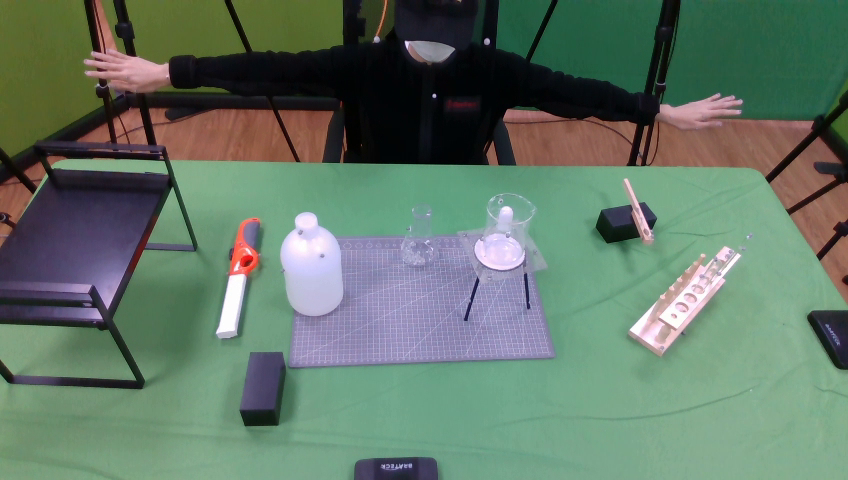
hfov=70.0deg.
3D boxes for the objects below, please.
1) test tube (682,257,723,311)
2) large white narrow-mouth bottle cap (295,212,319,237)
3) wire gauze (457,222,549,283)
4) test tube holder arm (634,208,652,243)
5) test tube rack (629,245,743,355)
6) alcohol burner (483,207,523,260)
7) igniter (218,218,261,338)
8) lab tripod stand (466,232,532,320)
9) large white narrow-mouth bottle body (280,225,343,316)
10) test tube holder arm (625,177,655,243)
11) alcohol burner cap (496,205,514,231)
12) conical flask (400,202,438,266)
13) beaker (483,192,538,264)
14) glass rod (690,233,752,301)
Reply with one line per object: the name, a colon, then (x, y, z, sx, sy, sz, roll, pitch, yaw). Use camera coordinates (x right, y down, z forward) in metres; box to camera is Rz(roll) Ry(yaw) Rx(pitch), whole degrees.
test tube: (0.474, 0.080, 1.037, 0.017, 0.151, 0.017, 1, 50, -1)
large white narrow-mouth bottle cap: (-0.185, -0.025, 0.960, 0.038, 0.024, 0.037, 2, 46, -2)
wire gauze: (0.131, 0.016, 1.017, 0.121, 0.011, 0.124, -10, 44, -16)
test tube holder arm: (0.428, -0.030, 1.189, 0.010, 0.015, 0.087, 2, 47, -2)
test tube rack: (0.474, 0.095, 1.091, 0.242, 0.085, 0.066, -34, 57, -31)
alcohol burner: (0.152, -0.018, 1.156, 0.078, 0.120, 0.077, 0, 47, 0)
igniter: (-0.336, 0.059, 1.111, 0.057, 0.025, 0.274, -7, 46, 4)
lab tripod stand: (0.125, 0.059, 1.065, 0.148, 0.132, 0.147, 1, 45, 0)
large white narrow-mouth bottle body: (-0.191, 0.035, 1.024, 0.102, 0.195, 0.101, 2, 46, -2)
test tube holder arm: (0.433, -0.063, 1.220, 0.013, 0.015, 0.177, 1, 47, -3)
alcohol burner cap: (0.153, -0.045, 1.131, 0.034, 0.048, 0.033, 2, 40, -1)
conical flask: (-0.007, -0.014, 1.135, 0.075, 0.122, 0.075, 2, 46, -2)
beaker: (0.136, -0.017, 0.980, 0.084, 0.101, 0.073, -6, 45, -9)
glass rod: (0.507, 0.053, 1.041, 0.008, 0.200, 0.008, 5, 50, -6)
